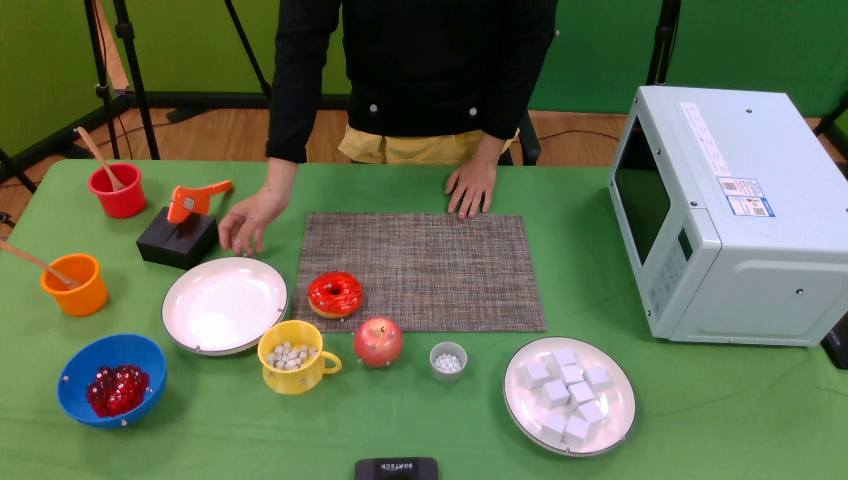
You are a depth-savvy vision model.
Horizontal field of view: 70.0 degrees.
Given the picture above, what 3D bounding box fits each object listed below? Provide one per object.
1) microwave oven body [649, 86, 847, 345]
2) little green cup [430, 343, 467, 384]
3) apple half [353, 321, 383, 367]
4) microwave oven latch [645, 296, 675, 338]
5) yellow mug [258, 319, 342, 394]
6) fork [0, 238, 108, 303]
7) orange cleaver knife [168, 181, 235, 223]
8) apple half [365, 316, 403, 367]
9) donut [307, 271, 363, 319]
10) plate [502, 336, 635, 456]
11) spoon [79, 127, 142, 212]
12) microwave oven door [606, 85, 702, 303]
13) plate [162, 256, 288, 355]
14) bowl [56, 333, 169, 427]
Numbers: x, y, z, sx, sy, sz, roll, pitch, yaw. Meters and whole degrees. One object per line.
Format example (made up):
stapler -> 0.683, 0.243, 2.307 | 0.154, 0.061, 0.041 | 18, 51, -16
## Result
microwave oven body -> 0.567, -0.053, 1.119 | 0.326, 0.261, 0.439 | 2, 45, -1
little green cup -> 0.039, 0.203, 0.994 | 0.061, 0.039, 0.061 | 2, 46, -2
apple half -> -0.098, 0.177, 0.984 | 0.033, 0.081, 0.081 | -17, 49, -25
microwave oven latch -> 0.412, 0.134, 1.061 | 0.030, 0.029, 0.078 | 3, 45, 0
yellow mug -> -0.196, 0.188, 0.972 | 0.131, 0.064, 0.099 | 9, 46, 4
fork -> -0.633, 0.048, 1.017 | 0.208, 0.018, 0.028 | 40, 41, -27
orange cleaver knife -> -0.436, -0.077, 1.196 | 0.012, 0.077, 0.211 | 16, 15, 10
apple half -> -0.063, 0.165, 1.000 | 0.053, 0.075, 0.080 | -16, 45, -24
donut -> -0.157, 0.097, 1.072 | 0.099, 0.048, 0.098 | 4, 45, -3
plate -> 0.225, 0.248, 0.963 | 0.208, 0.039, 0.206 | 2, 46, -2
spoon -> -0.624, -0.140, 1.203 | 0.041, 0.021, 0.194 | -33, 100, -26
microwave oven door -> 0.423, -0.094, 1.140 | 0.039, 0.245, 0.353 | 2, 46, -1
plate -> -0.341, 0.115, 1.051 | 0.209, 0.038, 0.208 | 2, 46, -2
bowl -> -0.456, 0.223, 0.912 | 0.151, 0.077, 0.150 | 3, 46, -2
